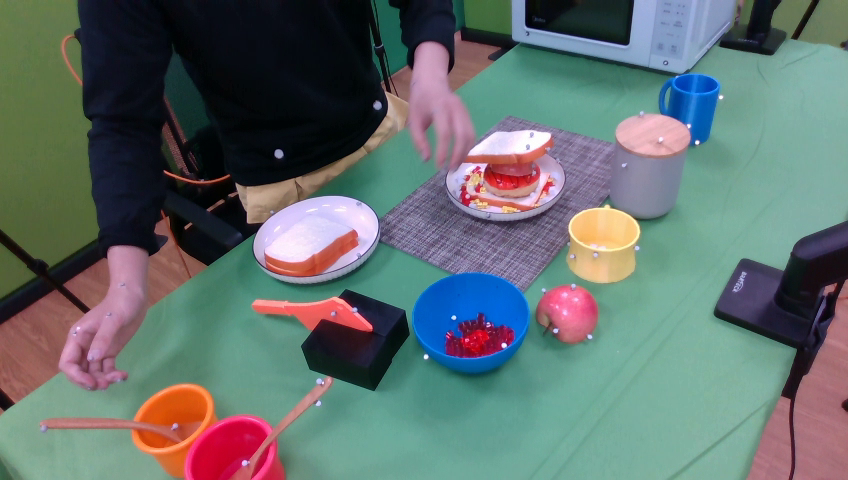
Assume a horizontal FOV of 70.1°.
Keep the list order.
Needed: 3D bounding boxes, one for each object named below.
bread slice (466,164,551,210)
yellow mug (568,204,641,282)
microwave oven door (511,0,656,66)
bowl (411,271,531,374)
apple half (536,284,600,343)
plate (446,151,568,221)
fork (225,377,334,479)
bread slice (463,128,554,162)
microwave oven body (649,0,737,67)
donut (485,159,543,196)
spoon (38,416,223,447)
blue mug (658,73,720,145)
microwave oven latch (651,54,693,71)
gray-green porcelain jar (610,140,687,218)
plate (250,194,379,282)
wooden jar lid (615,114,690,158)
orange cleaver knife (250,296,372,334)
[{"bbox_3d":[0.141,-0.093,1.041,0.133,0.018,0.107,8,42,20],"label":"bread slice"},{"bbox_3d":[0.269,-0.004,0.905,0.099,0.064,0.130,6,41,16],"label":"yellow mug"},{"bbox_3d":[0.350,-0.539,1.348,0.353,0.245,0.039,24,50,31],"label":"microwave oven door"},{"bbox_3d":[0.062,0.119,0.780,0.151,0.077,0.150,-4,40,4],"label":"bowl"},{"bbox_3d":[0.196,0.091,0.815,0.075,0.053,0.080,-22,42,-20],"label":"apple half"},{"bbox_3d":[0.142,-0.097,1.045,0.207,0.039,0.206,-4,40,4],"label":"plate"},{"bbox_3d":[-0.163,0.216,0.646,0.207,0.019,0.028,-49,42,16],"label":"fork"},{"bbox_3d":[0.142,-0.154,0.974,0.130,0.019,0.105,9,35,38],"label":"bread slice"},{"bbox_3d":[0.475,-0.602,1.411,0.438,0.261,0.327,23,50,32],"label":"microwave oven body"},{"bbox_3d":[0.151,-0.112,1.018,0.099,0.048,0.098,-4,40,4],"label":"donut"},{"bbox_3d":[-0.320,0.209,0.677,0.021,0.195,0.041,-53,41,16],"label":"spoon"},{"bbox_3d":[0.483,-0.250,1.127,0.082,0.106,0.115,-26,44,-19],"label":"blue mug"},{"bbox_3d":[0.531,-0.386,1.301,0.078,0.029,0.030,26,51,33],"label":"microwave oven latch"},{"bbox_3d":[0.354,-0.106,0.964,0.106,0.127,0.105,-4,41,4],"label":"gray-green porcelain jar"},{"bbox_3d":[-0.174,0.000,0.984,0.209,0.038,0.208,-4,40,3],"label":"plate"},{"bbox_3d":[0.347,-0.155,0.923,0.108,0.021,0.108,-3,44,4],"label":"wooden jar lid"},{"bbox_3d":[-0.158,0.103,0.828,0.210,0.078,0.012,-4,43,39],"label":"orange cleaver knife"}]
